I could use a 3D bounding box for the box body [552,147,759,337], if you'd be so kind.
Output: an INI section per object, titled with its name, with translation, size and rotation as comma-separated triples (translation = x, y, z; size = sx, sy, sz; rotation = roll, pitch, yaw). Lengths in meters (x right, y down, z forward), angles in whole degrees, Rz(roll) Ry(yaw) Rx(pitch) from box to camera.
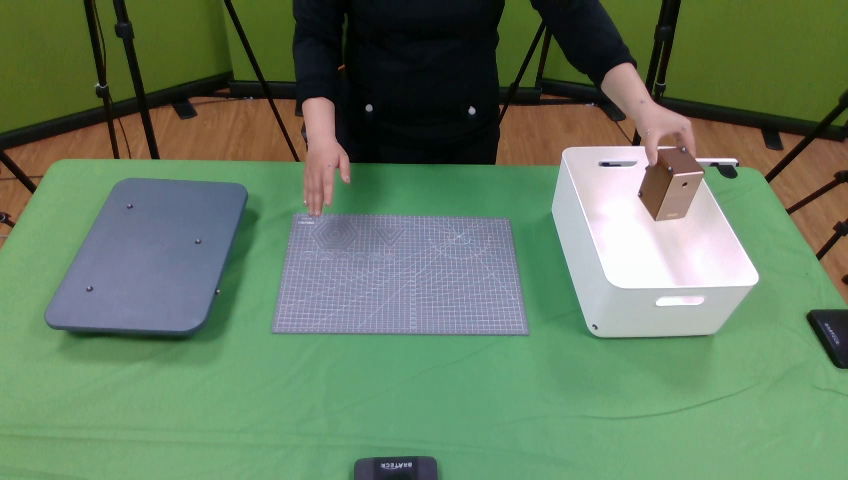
[box body]
translation = 0.400, -0.001, 1.131
size = 0.254, 0.161, 0.361
rotation = -1, 46, -5

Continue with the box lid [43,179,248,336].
[box lid]
translation = -0.484, 0.017, 1.093
size = 0.263, 0.015, 0.369
rotation = 2, 46, -2

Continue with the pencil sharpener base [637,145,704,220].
[pencil sharpener base]
translation = 0.415, -0.098, 1.030
size = 0.061, 0.107, 0.076
rotation = -7, 45, -9

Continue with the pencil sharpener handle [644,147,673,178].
[pencil sharpener handle]
translation = 0.404, -0.142, 1.057
size = 0.036, 0.068, 0.030
rotation = -4, 44, -12
